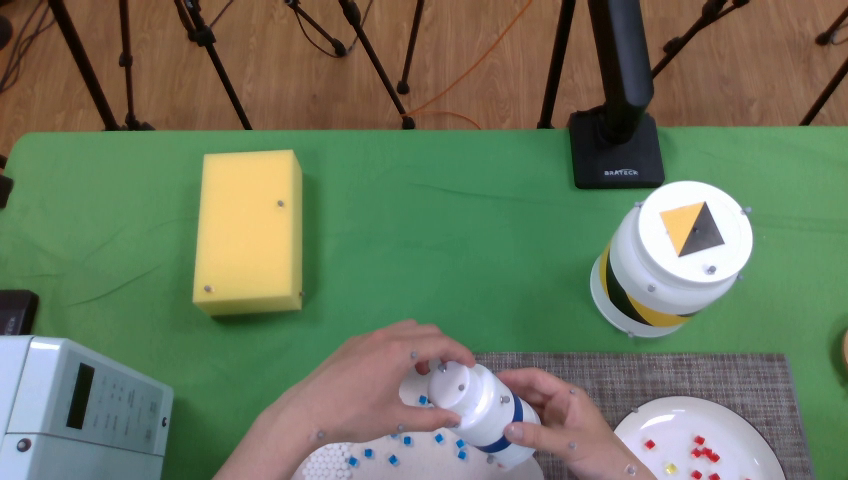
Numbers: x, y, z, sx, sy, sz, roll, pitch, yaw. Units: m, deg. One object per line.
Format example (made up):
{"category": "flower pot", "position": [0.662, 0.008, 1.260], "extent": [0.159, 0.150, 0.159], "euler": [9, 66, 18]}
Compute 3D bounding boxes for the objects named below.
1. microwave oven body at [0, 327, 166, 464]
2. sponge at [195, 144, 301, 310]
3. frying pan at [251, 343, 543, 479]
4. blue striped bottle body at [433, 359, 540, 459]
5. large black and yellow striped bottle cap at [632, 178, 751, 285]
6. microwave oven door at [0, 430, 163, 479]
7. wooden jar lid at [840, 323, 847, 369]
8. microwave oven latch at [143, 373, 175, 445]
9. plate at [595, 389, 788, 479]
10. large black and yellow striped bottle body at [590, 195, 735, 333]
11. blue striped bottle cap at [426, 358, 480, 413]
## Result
{"category": "microwave oven body", "position": [-0.461, 0.317, 0.541], "extent": [0.326, 0.262, 0.438], "euler": [0, 68, 1]}
{"category": "sponge", "position": [-0.224, -0.018, 0.788], "extent": [0.118, 0.061, 0.205], "euler": [-5, 68, -1]}
{"category": "frying pan", "position": [-0.028, 0.350, 0.608], "extent": [0.307, 0.103, 0.483], "euler": [-1, 59, 3]}
{"category": "blue striped bottle body", "position": [0.053, 0.151, 0.553], "extent": [0.063, 0.122, 0.062], "euler": [-23, 45, 25]}
{"category": "large black and yellow striped bottle cap", "position": [0.273, -0.010, 0.619], "extent": [0.115, 0.019, 0.114], "euler": [0, 66, 1]}
{"category": "microwave oven door", "position": [-0.317, 0.355, 0.518], "extent": [0.039, 0.245, 0.353], "euler": [0, 67, 1]}
{"category": "wooden jar lid", "position": [0.560, 0.139, 0.735], "extent": [0.108, 0.021, 0.107], "euler": [0, 69, 1]}
{"category": "microwave oven latch", "position": [-0.308, 0.193, 0.695], "extent": [0.030, 0.030, 0.078], "euler": [3, 68, 2]}
{"category": "plate", "position": [0.292, 0.272, 0.671], "extent": [0.209, 0.038, 0.207], "euler": [0, 68, 1]}
{"category": "large black and yellow striped bottle body", "position": [0.275, 0.023, 0.699], "extent": [0.131, 0.185, 0.130], "euler": [0, 67, 1]}
{"category": "blue striped bottle cap", "position": [0.024, 0.124, 0.518], "extent": [0.044, 0.021, 0.044], "euler": [-24, 40, 22]}
